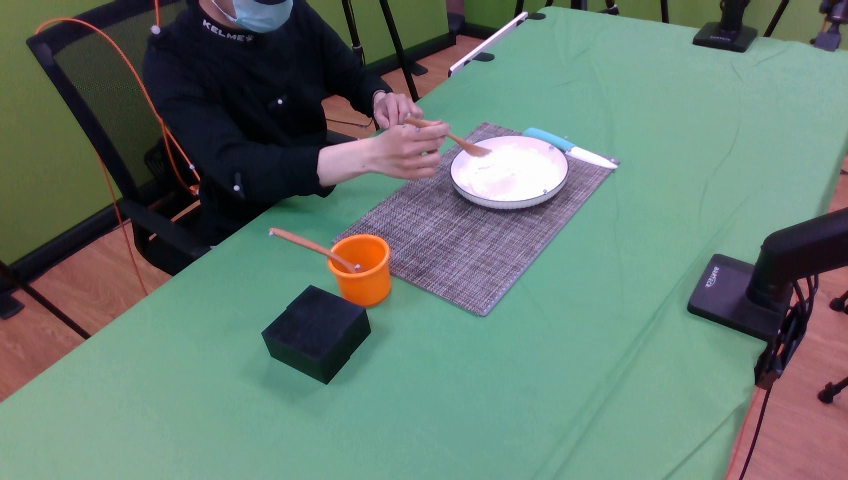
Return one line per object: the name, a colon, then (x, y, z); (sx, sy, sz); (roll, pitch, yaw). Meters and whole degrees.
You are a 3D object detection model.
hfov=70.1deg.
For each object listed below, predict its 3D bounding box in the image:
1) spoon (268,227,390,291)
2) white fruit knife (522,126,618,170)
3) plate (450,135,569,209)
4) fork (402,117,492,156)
spoon: (-0.132, 0.025, 0.862); (0.021, 0.195, 0.041); (-40, 32, 33)
white fruit knife: (0.272, -0.172, 1.132); (0.205, 0.016, 0.027); (32, 82, 34)
plate: (0.149, -0.117, 1.065); (0.209, 0.038, 0.208); (-4, 41, 4)
fork: (0.041, -0.165, 0.969); (0.028, 0.209, 0.018); (-26, 62, 38)
